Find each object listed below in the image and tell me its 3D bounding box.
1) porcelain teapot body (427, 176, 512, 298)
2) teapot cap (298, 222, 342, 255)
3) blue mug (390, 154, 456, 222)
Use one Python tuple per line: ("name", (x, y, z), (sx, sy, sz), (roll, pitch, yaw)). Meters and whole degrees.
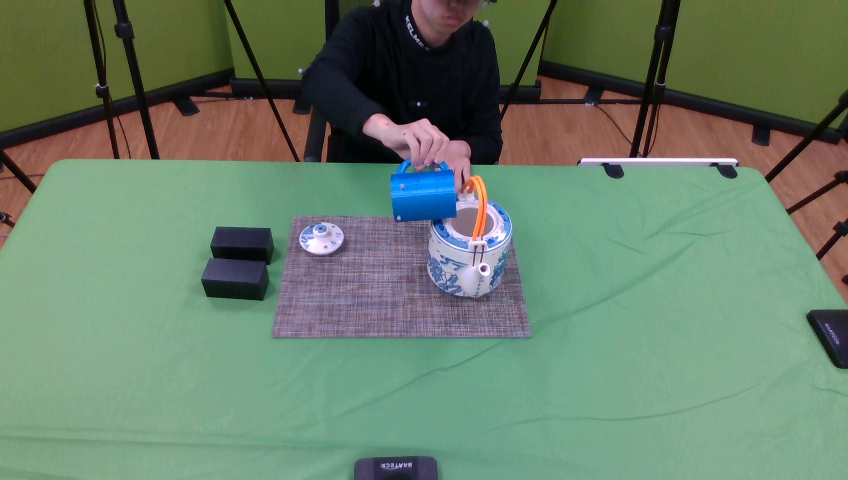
("porcelain teapot body", (0.085, 0.010, 1.051), (0.145, 0.226, 0.204), (-5, 47, -8))
("teapot cap", (-0.201, -0.008, 1.171), (0.085, 0.044, 0.084), (1, 47, -1))
("blue mug", (-0.002, -0.091, 1.021), (0.106, 0.082, 0.116), (-4, 76, 2))
